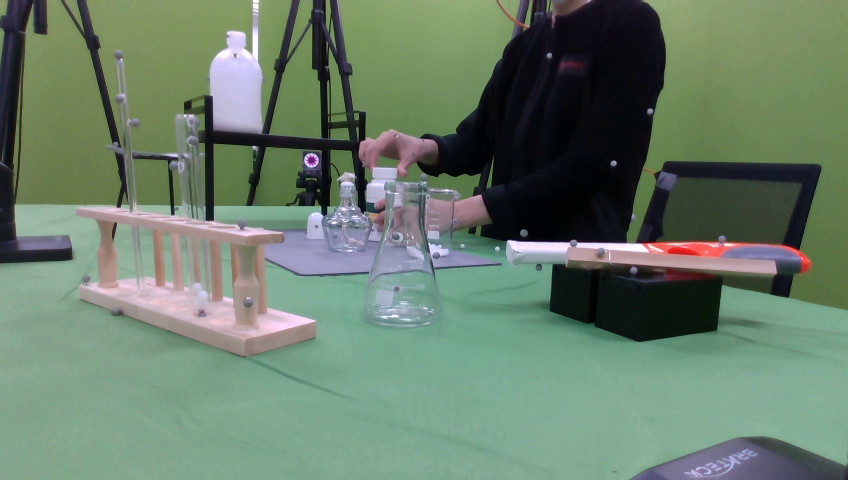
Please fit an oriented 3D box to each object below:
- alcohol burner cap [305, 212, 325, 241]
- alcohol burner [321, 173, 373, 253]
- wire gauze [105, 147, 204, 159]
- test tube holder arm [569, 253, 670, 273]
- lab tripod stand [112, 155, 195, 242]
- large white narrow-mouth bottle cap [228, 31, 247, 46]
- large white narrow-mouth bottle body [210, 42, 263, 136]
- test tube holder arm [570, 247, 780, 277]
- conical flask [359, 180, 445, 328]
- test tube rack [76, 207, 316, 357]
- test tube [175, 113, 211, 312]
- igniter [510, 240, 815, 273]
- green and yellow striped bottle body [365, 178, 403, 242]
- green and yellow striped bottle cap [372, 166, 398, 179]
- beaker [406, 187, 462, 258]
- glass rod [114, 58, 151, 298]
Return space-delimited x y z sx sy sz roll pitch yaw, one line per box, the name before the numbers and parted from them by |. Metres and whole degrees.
alcohol burner cap | -0.185 -0.023 1.027 0.034 0.048 0.034 2 6 0
alcohol burner | -0.115 -0.041 0.905 0.078 0.119 0.078 1 6 0
wire gauze | -0.407 -0.131 0.928 0.125 0.011 0.121 2 6 -11
test tube holder arm | 0.172 0.019 0.532 0.088 0.015 0.010 3 -23 3
lab tripod stand | -0.405 -0.064 0.931 0.148 0.131 0.148 1 6 0
large white narrow-mouth bottle cap | -0.364 -0.393 1.180 0.038 0.024 0.037 3 8 0
large white narrow-mouth bottle body | -0.369 -0.306 1.194 0.102 0.194 0.102 3 8 0
test tube holder arm | 0.217 0.019 0.525 0.178 0.015 0.013 3 -23 3
conical flask | -0.017 0.010 0.522 0.075 0.122 0.075 2 7 0
test tube rack | -0.196 0.023 0.500 0.241 0.085 0.067 8 9 36
test tube | -0.174 -0.020 0.458 0.017 0.150 0.017 -3 5 1
igniter | 0.220 0.015 0.565 0.277 0.025 0.057 2 16 0
green and yellow striped bottle body | -0.068 -0.059 1.036 0.063 0.119 0.063 2 8 0
green and yellow striped bottle cap | -0.067 -0.115 1.028 0.045 0.020 0.045 4 9 0
beaker | 0.013 -0.026 0.892 0.084 0.100 0.074 3 8 -2
glass rod | -0.236 -0.044 0.492 0.008 0.199 0.008 0 15 0
